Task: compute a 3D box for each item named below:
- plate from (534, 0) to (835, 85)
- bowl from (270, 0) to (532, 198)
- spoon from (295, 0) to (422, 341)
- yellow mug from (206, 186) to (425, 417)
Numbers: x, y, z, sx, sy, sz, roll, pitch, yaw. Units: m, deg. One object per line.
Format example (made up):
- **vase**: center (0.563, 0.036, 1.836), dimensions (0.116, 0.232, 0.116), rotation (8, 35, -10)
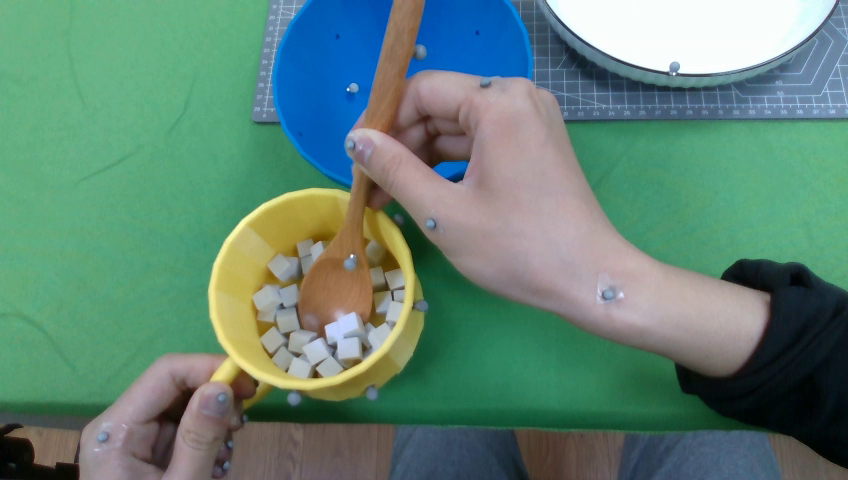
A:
- **plate**: center (0.172, -0.192, 0.420), dimensions (0.209, 0.038, 0.207), rotation (-2, 70, 5)
- **bowl**: center (-0.010, -0.088, 0.380), dimensions (0.151, 0.077, 0.150), rotation (-1, 74, 6)
- **spoon**: center (-0.030, -0.025, 0.287), dimensions (0.041, 0.195, 0.021), rotation (22, 35, 4)
- **yellow mug**: center (-0.062, 0.041, 0.315), dimensions (0.099, 0.064, 0.130), rotation (39, 79, 14)
